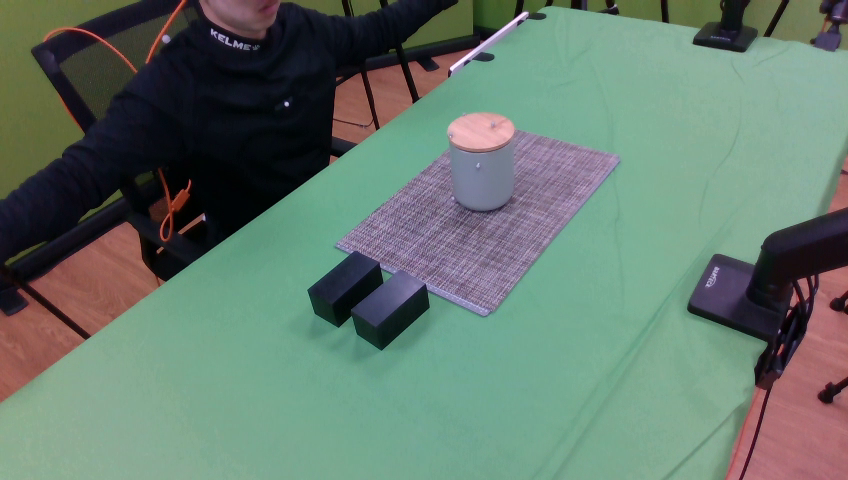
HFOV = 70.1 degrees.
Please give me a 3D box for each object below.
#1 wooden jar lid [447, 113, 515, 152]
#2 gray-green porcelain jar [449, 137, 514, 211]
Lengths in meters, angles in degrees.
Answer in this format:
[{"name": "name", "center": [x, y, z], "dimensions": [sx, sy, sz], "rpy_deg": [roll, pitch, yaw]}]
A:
[{"name": "wooden jar lid", "center": [0.091, -0.169, 0.968], "dimensions": [0.108, 0.021, 0.108], "rpy_deg": [-4, 42, 4]}, {"name": "gray-green porcelain jar", "center": [0.098, -0.120, 1.008], "dimensions": [0.106, 0.127, 0.105], "rpy_deg": [-4, 41, 4]}]
